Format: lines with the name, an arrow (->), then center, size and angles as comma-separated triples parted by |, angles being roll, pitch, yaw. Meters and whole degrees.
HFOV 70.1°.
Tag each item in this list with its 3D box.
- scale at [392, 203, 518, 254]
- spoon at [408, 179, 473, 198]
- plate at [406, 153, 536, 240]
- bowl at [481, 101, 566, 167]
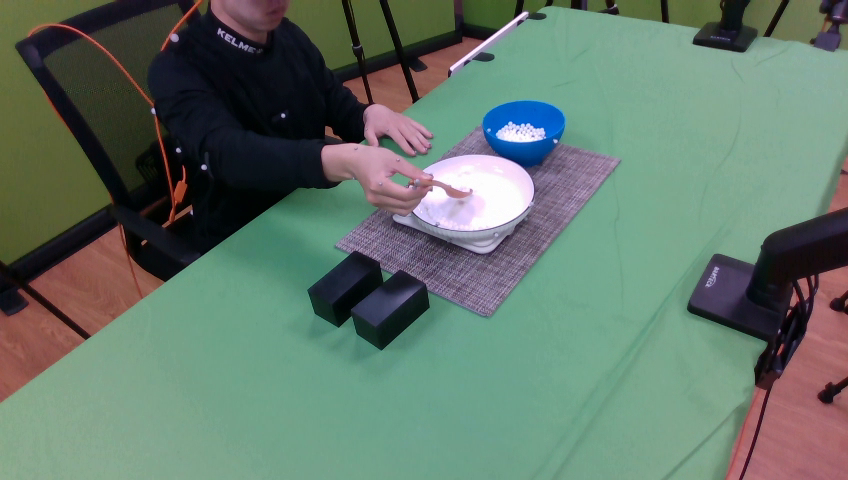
scale -> 0.061, -0.051, 1.006 | 0.199, 0.032, 0.149 | 22, 48, 30
spoon -> 0.023, -0.079, 0.897 | 0.041, 0.021, 0.195 | 2, -2, 28
plate -> 0.075, -0.067, 0.973 | 0.209, 0.038, 0.208 | -4, 41, 4
bowl -> 0.183, -0.186, 1.111 | 0.151, 0.077, 0.150 | -4, 40, 4
